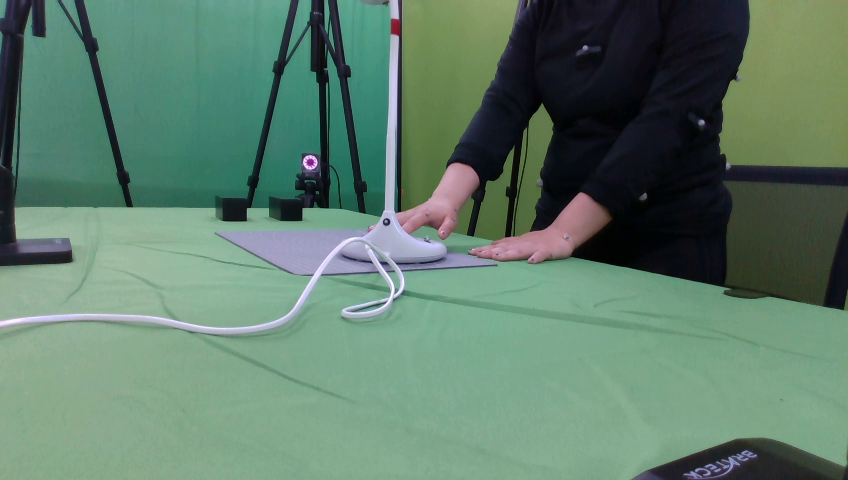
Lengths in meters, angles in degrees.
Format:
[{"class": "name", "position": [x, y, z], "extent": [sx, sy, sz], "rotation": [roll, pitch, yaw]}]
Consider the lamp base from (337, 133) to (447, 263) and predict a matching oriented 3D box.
[{"class": "lamp base", "position": [-0.043, -0.062, 0.869], "extent": [0.161, 0.180, 0.179], "rotation": [2, 10, -3]}]

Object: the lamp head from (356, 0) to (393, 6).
[{"class": "lamp head", "position": [-0.056, -0.383, 0.820], "extent": [0.113, 0.112, 0.122], "rotation": [0, 12, -22]}]
